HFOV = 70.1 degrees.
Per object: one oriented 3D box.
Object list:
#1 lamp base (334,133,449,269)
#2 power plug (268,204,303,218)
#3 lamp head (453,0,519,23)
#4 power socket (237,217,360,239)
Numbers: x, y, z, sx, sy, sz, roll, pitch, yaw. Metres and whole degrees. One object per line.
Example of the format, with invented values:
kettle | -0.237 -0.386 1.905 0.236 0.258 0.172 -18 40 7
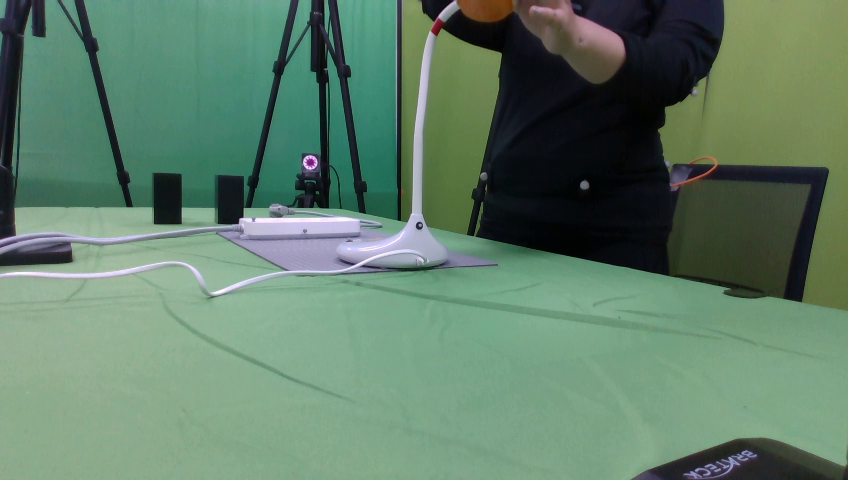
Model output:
lamp base | -0.034 -0.057 0.831 0.161 0.180 0.178 -2 12 -36
power plug | -0.327 -0.060 1.404 0.073 0.035 0.052 22 -14 -26
lamp head | 0.072 -0.318 0.705 0.112 0.122 0.112 8 -2 1
power socket | -0.221 -0.023 1.080 0.228 0.032 0.072 -2 8 -33
